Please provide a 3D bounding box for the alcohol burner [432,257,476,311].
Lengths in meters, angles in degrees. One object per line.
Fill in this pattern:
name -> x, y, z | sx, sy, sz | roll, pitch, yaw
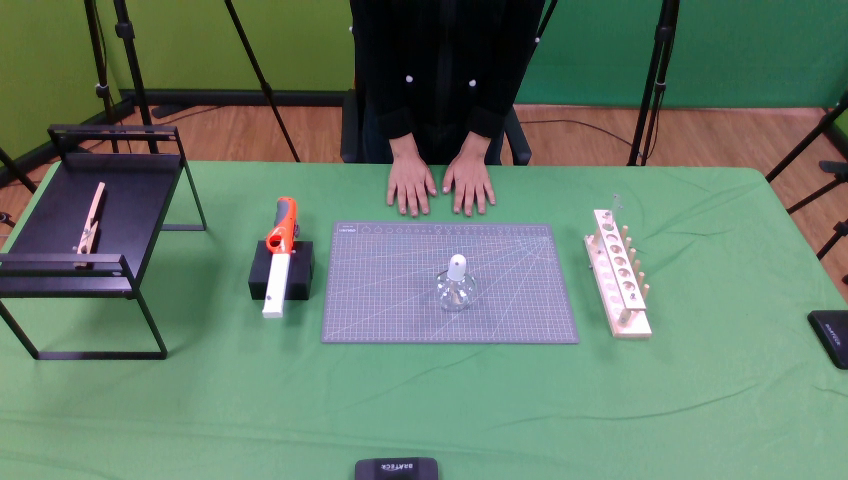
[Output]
alcohol burner -> 0.055, 0.070, 1.068 | 0.078, 0.119, 0.077 | 3, 45, -3

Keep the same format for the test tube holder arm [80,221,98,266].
test tube holder arm -> -0.504, 0.004, 0.910 | 0.010, 0.015, 0.087 | 26, 32, -36

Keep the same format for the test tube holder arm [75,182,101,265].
test tube holder arm -> -0.518, -0.030, 0.937 | 0.013, 0.015, 0.177 | 25, 33, -37

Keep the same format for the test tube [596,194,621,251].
test tube -> 0.346, -0.029, 1.141 | 0.017, 0.151, 0.017 | 0, 50, 0

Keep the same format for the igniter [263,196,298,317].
igniter -> -0.259, 0.020, 1.089 | 0.057, 0.025, 0.274 | -2, 49, -3

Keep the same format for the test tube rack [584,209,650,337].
test tube rack -> 0.365, 0.056, 1.129 | 0.067, 0.085, 0.240 | 1, 46, -4

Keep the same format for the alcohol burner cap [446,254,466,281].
alcohol burner cap -> 0.058, 0.044, 1.043 | 0.034, 0.048, 0.033 | 4, 45, -4
